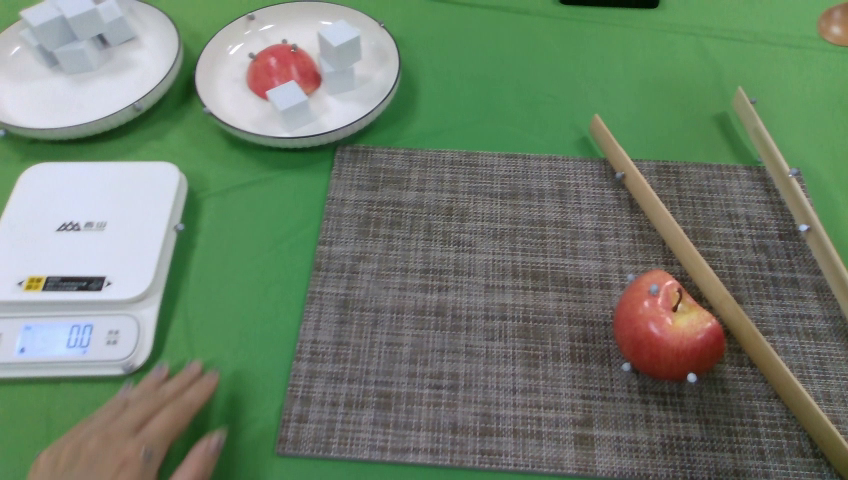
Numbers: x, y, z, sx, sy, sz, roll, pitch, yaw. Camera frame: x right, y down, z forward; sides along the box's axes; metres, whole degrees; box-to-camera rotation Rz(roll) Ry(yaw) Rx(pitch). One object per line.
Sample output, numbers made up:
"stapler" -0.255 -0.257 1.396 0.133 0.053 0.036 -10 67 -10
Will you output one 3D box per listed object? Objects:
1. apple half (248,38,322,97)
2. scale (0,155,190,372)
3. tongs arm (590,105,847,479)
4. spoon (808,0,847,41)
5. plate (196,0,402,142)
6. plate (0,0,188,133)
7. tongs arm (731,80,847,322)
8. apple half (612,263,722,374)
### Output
"apple half" -0.145 -0.187 0.631 0.081 0.033 0.080 -1 54 2
"scale" -0.288 0.012 0.512 0.149 0.032 0.199 -1 57 -1
"tongs arm" 0.240 0.024 0.504 0.028 0.028 0.383 -16 59 -15
"spoon" 0.385 -0.181 0.428 0.193 0.022 0.041 -8 70 34
"plate" -0.125 -0.176 0.631 0.209 0.038 0.207 0 57 0
"plate" -0.351 -0.186 0.636 0.208 0.039 0.205 0 57 0
"tongs arm" 0.321 0.008 0.513 0.051 0.027 0.381 -6 58 -5
"apple half" 0.170 0.066 0.450 0.053 0.075 0.080 -30 65 -14
